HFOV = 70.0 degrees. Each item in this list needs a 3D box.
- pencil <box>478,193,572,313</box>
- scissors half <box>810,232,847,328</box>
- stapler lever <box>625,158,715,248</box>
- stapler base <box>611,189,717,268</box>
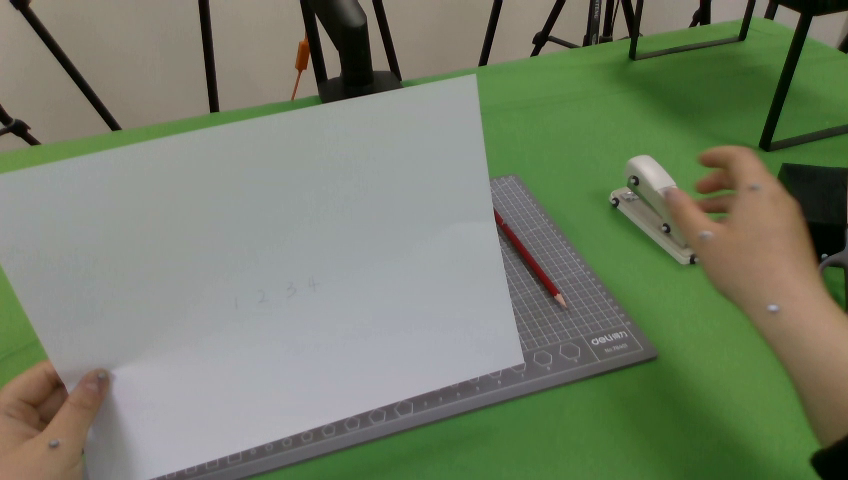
[{"bbox_3d":[0.098,0.008,0.609,0.012,0.012,0.191,-16,42,-14],"label":"pencil"},{"bbox_3d":[0.380,-0.006,0.544,0.040,0.013,0.174,12,76,32],"label":"scissors half"},{"bbox_3d":[0.246,-0.041,0.611,0.027,0.040,0.116,-18,43,-13],"label":"stapler lever"},{"bbox_3d":[0.246,-0.022,0.629,0.041,0.024,0.129,-18,43,-13],"label":"stapler base"}]
